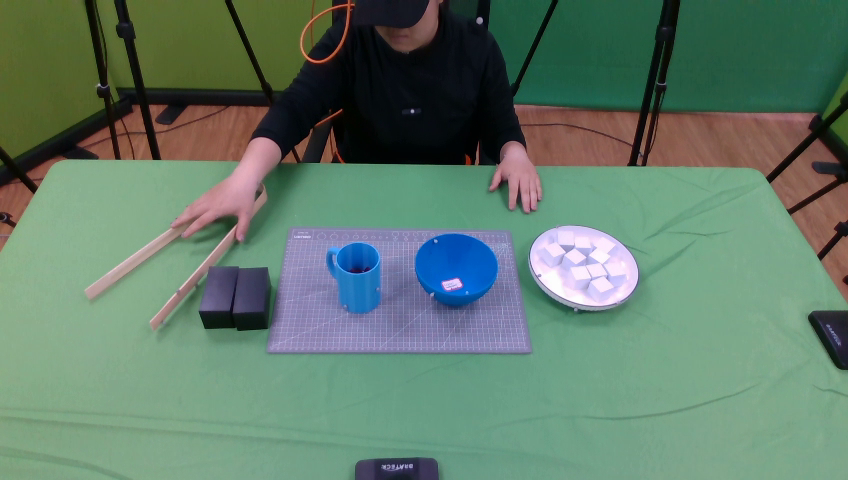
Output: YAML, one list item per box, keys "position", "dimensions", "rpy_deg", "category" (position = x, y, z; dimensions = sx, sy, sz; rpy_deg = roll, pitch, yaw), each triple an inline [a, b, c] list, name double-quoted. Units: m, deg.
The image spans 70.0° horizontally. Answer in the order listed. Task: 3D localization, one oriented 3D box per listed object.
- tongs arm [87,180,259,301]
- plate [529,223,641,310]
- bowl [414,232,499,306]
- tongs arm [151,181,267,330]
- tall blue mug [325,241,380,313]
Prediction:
- position: [-0.473, -0.011, 1.172]
  dimensions: [0.028, 0.028, 0.387]
  rpy_deg: [22, 49, 30]
  category: "tongs arm"
- position: [0.303, 0.053, 1.156]
  dimensions: [0.209, 0.038, 0.208]
  rpy_deg: [2, 46, -2]
  category: "plate"
- position: [0.056, 0.066, 1.095]
  dimensions: [0.151, 0.077, 0.150]
  rpy_deg: [2, 46, -2]
  category: "bowl"
- position: [-0.400, 0.014, 1.145]
  dimensions: [0.050, 0.027, 0.383]
  rpy_deg: [14, 46, 18]
  category: "tongs arm"
- position: [-0.130, 0.063, 1.062]
  dimensions: [0.107, 0.108, 0.077]
  rpy_deg: [9, 47, 5]
  category: "tall blue mug"
